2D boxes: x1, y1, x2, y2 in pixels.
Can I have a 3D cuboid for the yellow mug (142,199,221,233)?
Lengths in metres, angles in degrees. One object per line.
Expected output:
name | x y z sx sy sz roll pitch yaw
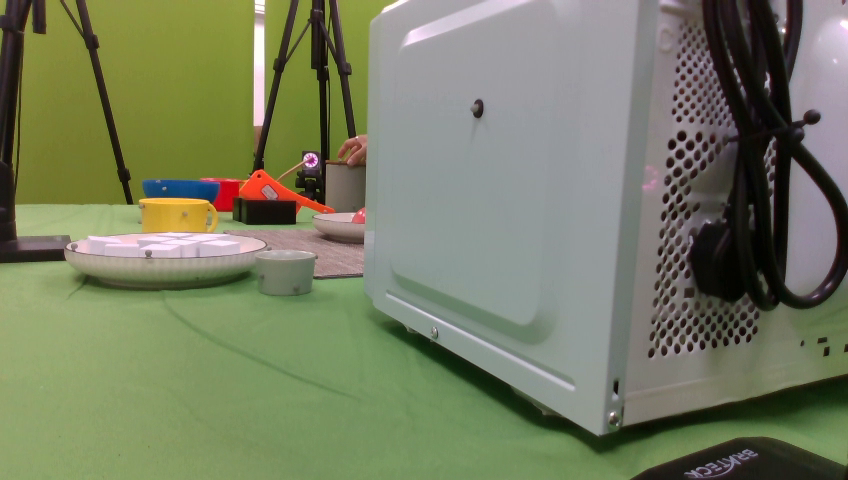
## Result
yellow mug | -0.372 -0.030 0.947 0.099 0.064 0.131 6 7 30

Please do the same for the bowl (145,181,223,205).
bowl | -0.499 -0.081 1.261 0.151 0.077 0.151 2 8 0

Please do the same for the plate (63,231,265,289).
plate | -0.288 0.021 0.687 0.208 0.039 0.207 2 8 0

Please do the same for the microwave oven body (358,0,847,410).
microwave oven body | 0.210 -0.051 0.471 0.444 0.260 0.324 -1 7 -28

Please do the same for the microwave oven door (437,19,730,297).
microwave oven door | 0.181 -0.076 0.618 0.358 0.243 0.039 -2 9 -28

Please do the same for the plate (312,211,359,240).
plate | -0.091 -0.026 1.063 0.209 0.038 0.209 2 7 0

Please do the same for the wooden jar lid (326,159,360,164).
wooden jar lid | -0.185 -0.186 1.481 0.108 0.020 0.108 4 6 0

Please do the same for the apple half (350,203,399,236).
apple half | -0.082 -0.036 1.024 0.081 0.053 0.074 -3 11 -34

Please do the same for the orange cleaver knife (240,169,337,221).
orange cleaver knife | -0.287 -0.082 1.298 0.212 0.077 0.012 25 -2 -31

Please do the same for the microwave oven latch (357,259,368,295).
microwave oven latch | -0.019 0.031 0.529 0.079 0.029 0.030 -1 7 -26

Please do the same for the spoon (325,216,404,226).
spoon | -0.120 -0.043 1.272 0.195 0.021 0.041 -4 -11 -38

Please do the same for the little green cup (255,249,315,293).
little green cup | -0.144 0.031 0.627 0.061 0.038 0.061 2 6 0

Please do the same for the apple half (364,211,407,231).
apple half | -0.068 -0.037 1.103 0.081 0.033 0.081 -1 10 0

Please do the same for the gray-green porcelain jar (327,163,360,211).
gray-green porcelain jar | -0.186 -0.125 1.490 0.106 0.126 0.106 2 8 0

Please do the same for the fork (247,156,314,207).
fork | -0.360 -0.147 1.523 0.207 0.018 0.028 -43 15 -7
